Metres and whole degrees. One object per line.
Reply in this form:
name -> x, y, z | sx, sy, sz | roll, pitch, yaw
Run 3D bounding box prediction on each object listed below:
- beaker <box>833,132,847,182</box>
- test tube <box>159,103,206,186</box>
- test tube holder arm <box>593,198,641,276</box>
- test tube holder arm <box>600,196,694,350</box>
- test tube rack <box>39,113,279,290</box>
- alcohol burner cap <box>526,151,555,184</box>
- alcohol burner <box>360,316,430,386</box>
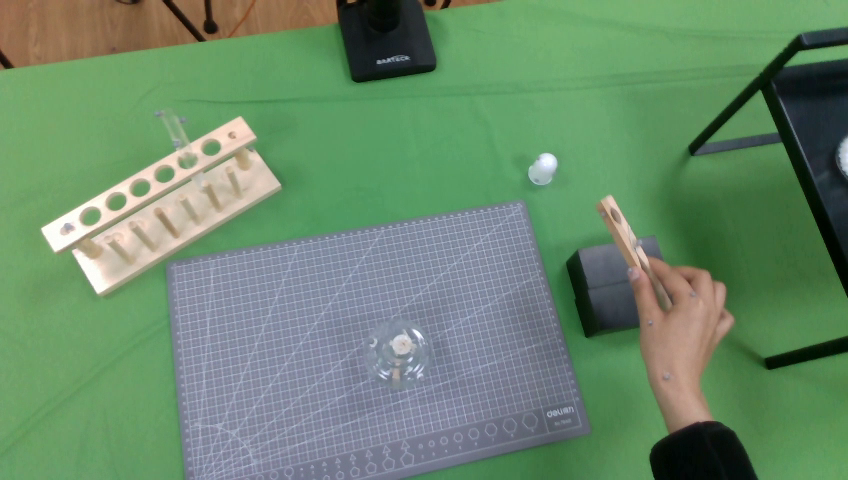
beaker -> 0.466, -0.096, 0.596 | 0.084, 0.101, 0.073 | -23, 74, -12
test tube -> -0.265, -0.101, 0.674 | 0.017, 0.151, 0.017 | 2, 65, -5
test tube holder arm -> 0.203, -0.003, 0.629 | 0.010, 0.015, 0.087 | -27, 85, -13
test tube holder arm -> 0.230, 0.034, 0.627 | 0.013, 0.015, 0.178 | -29, 85, -13
test tube rack -> -0.296, -0.044, 0.705 | 0.242, 0.085, 0.066 | -34, 77, -15
alcohol burner cap -> 0.154, -0.097, 0.788 | 0.034, 0.048, 0.033 | 1, 71, -3
alcohol burner -> -0.030, 0.118, 0.658 | 0.078, 0.119, 0.077 | 2, 72, -6
